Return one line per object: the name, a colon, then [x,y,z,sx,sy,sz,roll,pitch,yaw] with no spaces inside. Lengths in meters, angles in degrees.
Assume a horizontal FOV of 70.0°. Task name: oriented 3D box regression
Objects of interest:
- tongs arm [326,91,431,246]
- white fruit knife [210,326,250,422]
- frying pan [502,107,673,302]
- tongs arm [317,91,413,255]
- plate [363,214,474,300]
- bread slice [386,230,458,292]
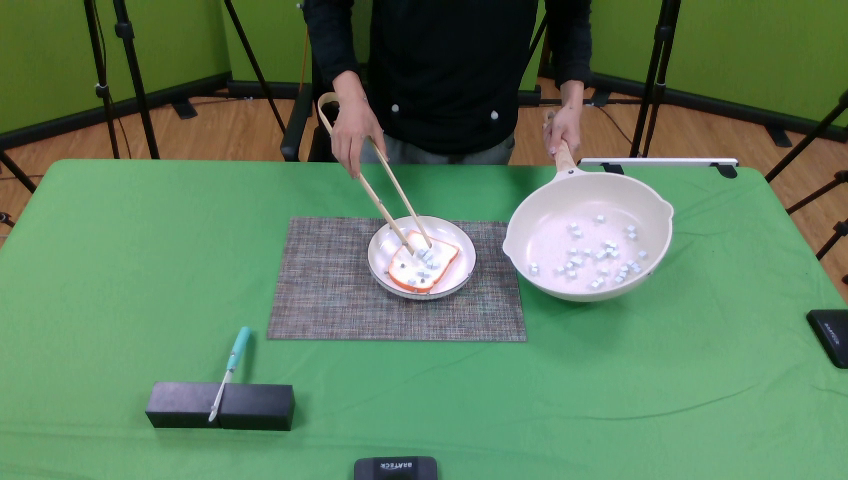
tongs arm: [-0.089,-0.146,1.170,0.028,0.028,0.386,-29,71,-11]
white fruit knife: [-0.301,0.201,0.942,0.016,0.027,0.206,0,32,-1]
frying pan: [0.293,-0.088,1.179,0.307,0.103,0.484,-13,55,11]
tongs arm: [-0.111,-0.134,1.163,0.051,0.026,0.383,-31,72,-15]
plate: [-0.010,0.036,1.146,0.208,0.039,0.206,3,46,-2]
bread slice: [-0.007,0.043,1.142,0.107,0.018,0.134,18,46,14]
